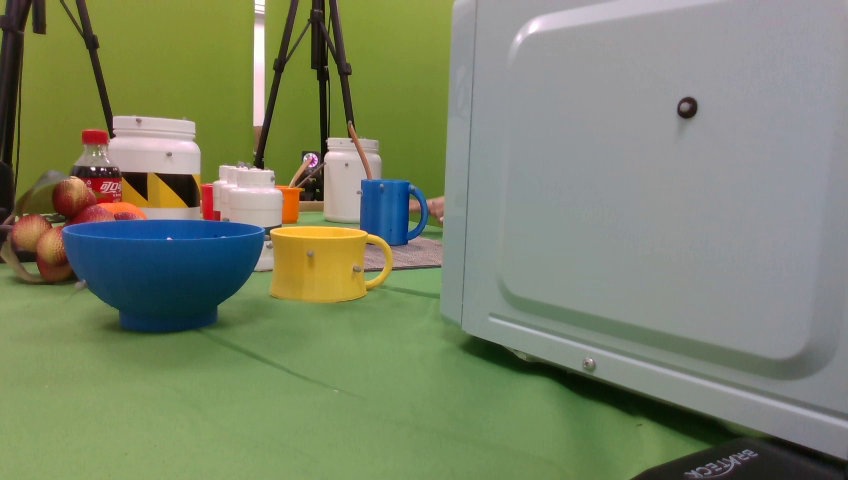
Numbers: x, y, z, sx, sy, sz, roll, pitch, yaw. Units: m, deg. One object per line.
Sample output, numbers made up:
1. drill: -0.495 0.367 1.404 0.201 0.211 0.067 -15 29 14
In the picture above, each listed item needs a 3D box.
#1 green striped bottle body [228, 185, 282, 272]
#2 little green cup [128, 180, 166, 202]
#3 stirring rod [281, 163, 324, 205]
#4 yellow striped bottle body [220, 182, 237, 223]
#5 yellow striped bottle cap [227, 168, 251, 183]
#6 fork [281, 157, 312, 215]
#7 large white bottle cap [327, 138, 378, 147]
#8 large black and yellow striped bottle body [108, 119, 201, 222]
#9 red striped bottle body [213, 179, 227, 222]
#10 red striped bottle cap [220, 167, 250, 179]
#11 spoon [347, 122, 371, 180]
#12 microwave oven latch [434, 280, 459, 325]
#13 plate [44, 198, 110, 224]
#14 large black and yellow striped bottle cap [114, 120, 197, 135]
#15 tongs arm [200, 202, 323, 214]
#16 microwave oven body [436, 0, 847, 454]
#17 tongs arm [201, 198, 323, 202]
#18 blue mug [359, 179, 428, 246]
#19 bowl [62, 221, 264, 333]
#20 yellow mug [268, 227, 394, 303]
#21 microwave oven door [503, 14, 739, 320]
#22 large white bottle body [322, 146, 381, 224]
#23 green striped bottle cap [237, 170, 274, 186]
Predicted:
1. green striped bottle body: -0.208 -0.023 0.745 0.063 0.119 0.063 2 7 0
2. little green cup: -0.485 -0.087 1.062 0.061 0.038 0.061 -1 6 0
3. stirring rod: -0.278 -0.105 1.293 0.176 0.006 0.014 -47 24 -18
4. yellow striped bottle body: -0.246 -0.036 0.825 0.063 0.120 0.063 3 8 0
5. yellow striped bottle cap: -0.243 -0.087 0.818 0.044 0.018 0.044 3 6 0
6. fork: -0.289 -0.116 1.321 0.028 0.019 0.207 6 51 19
7. large white bottle cap: -0.160 -0.218 1.357 0.115 0.018 0.115 2 8 0
8. large black and yellow striped bottle body: -0.412 -0.088 0.930 0.131 0.184 0.130 3 7 0
9. red striped bottle body: -0.284 -0.048 0.909 0.063 0.119 0.063 3 10 0
10. red striped bottle cap: -0.281 -0.100 0.901 0.044 0.017 0.044 -1 5 0
11. spoon: -0.097 -0.107 1.016 0.021 0.193 0.041 -15 -3 0
12. microwave oven latch: 0.044 0.045 0.470 0.079 0.029 0.030 -2 8 -39
13. plate: -0.617 -0.056 1.179 0.209 0.038 0.209 3 7 0
14. large black and yellow striped bottle cap: -0.407 -0.171 0.920 0.115 0.019 0.115 2 9 0
15. tongs arm: -0.378 -0.079 1.440 0.387 0.026 0.050 -4 8 -44
16. microwave oven body: 0.279 -0.040 0.464 0.444 0.260 0.324 -3 9 -41
17. tongs arm: -0.432 -0.090 1.507 0.390 0.028 0.028 -1 3 -30
18. blue mug: -0.051 -0.046 1.003 0.116 0.106 0.082 4 8 12
19. bowl: -0.209 0.029 0.496 0.151 0.077 0.151 2 7 0
20. yellow mug: -0.094 0.023 0.629 0.131 0.064 0.099 0 7 -22
21. microwave oven door: 0.218 -0.065 0.600 0.358 0.243 0.039 -4 10 -41
22. large white bottle body: -0.163 -0.134 1.369 0.131 0.184 0.130 2 7 0
23. green striped bottle cap: -0.205 -0.075 0.737 0.044 0.020 0.044 1 6 0
